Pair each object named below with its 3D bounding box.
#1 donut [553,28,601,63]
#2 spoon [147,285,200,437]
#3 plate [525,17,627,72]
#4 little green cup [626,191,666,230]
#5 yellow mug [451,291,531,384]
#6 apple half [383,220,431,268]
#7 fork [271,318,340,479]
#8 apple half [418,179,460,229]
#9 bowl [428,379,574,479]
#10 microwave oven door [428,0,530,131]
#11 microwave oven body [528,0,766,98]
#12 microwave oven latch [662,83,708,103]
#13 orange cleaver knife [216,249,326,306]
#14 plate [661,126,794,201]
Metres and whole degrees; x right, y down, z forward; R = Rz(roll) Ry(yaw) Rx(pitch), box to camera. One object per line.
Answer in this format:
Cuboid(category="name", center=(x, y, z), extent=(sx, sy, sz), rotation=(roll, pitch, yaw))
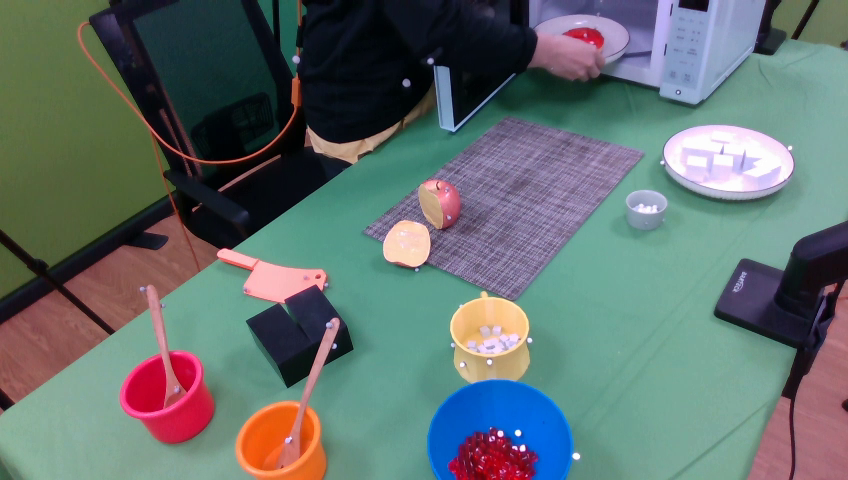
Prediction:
Cuboid(category="donut", center=(0.316, -0.403, 1.250), extent=(0.099, 0.048, 0.098), rotation=(-2, 47, 3))
Cuboid(category="spoon", center=(-0.318, 0.148, 0.754), extent=(0.042, 0.021, 0.193), rotation=(-15, 85, -9))
Cuboid(category="plate", center=(0.319, -0.407, 1.273), extent=(0.209, 0.038, 0.208), rotation=(-4, 44, 4))
Cuboid(category="little green cup", center=(0.352, -0.046, 0.963), extent=(0.061, 0.039, 0.061), rotation=(-4, 40, 4))
Cuboid(category="yellow mug", center=(0.085, 0.120, 0.786), extent=(0.100, 0.064, 0.130), rotation=(-7, 39, 1))
Cuboid(category="apple half", center=(-0.022, 0.009, 0.947), extent=(0.081, 0.033, 0.081), rotation=(-3, 73, 11))
Cuboid(category="fork", center=(-0.132, 0.186, 0.676), extent=(0.028, 0.019, 0.207), rotation=(17, 90, 28))
Cuboid(category="apple half", center=(0.032, -0.062, 0.998), extent=(0.053, 0.075, 0.080), rotation=(-24, 39, -23))
Cuboid(category="bowl", center=(0.082, 0.233, 0.644), extent=(0.151, 0.077, 0.150), rotation=(-4, 39, 4))
Cuboid(category="microwave oven door", center=(0.126, -0.417, 1.249), extent=(0.039, 0.245, 0.356), rotation=(19, 47, 28))
Cuboid(category="microwave oven body", center=(0.472, -0.513, 1.317), extent=(0.438, 0.261, 0.327), rotation=(25, 51, 34))
Cuboid(category="microwave oven latch", center=(0.518, -0.297, 1.204), extent=(0.078, 0.029, 0.030), rotation=(28, 52, 36))
Cuboid(category="orange cleaver knife", center=(-0.248, 0.058, 0.945), extent=(0.210, 0.012, 0.077), rotation=(13, 50, 20))
Cuboid(category="plate", center=(0.513, -0.128, 1.035), extent=(0.207, 0.039, 0.206), rotation=(-4, 40, 4))
